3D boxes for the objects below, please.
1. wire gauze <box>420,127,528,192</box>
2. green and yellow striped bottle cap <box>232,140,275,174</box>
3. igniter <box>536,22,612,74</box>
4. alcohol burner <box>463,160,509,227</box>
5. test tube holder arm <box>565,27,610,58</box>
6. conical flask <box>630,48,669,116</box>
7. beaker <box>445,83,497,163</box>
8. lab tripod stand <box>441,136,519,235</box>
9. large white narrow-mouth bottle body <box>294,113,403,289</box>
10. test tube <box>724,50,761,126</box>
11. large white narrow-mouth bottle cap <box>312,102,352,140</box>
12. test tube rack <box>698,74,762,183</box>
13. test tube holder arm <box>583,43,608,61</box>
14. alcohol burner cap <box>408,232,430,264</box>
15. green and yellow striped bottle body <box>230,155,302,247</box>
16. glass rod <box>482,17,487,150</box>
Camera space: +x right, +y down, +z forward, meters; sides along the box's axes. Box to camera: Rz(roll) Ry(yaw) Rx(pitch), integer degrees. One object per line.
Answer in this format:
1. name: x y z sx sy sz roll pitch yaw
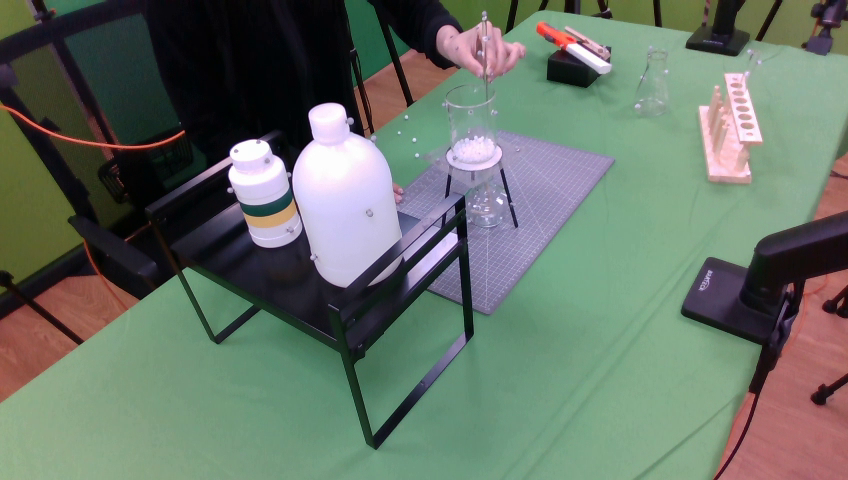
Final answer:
1. wire gauze: 0.076 -0.131 0.927 0.122 0.011 0.124 -34 49 -25
2. green and yellow striped bottle cap: -0.192 -0.094 0.680 0.045 0.020 0.045 -5 39 5
3. igniter: 0.330 -0.438 1.366 0.057 0.025 0.274 -11 41 -19
4. alcohol burner: 0.102 -0.081 0.982 0.078 0.119 0.077 -4 43 4
5. test tube holder arm: 0.369 -0.450 1.373 0.013 0.015 0.177 -39 41 10
6. conical flask: 0.456 -0.317 1.205 0.075 0.122 0.075 -4 41 4
7. beaker: 0.073 -0.175 0.905 0.074 0.101 0.084 3 41 13
8. lab tripod stand: 0.083 -0.086 0.976 0.148 0.132 0.147 -4 42 4
9. large white narrow-mouth bottle body: -0.082 -0.047 0.634 0.102 0.195 0.101 -4 39 3
10. test tube: 0.570 -0.269 1.086 0.017 0.151 0.017 -1 45 1
11. large white narrow-mouth bottle cap: -0.088 -0.114 0.579 0.038 0.024 0.037 -3 39 3
12. test tube rack: 0.547 -0.208 1.095 0.066 0.085 0.242 5 42 15
13. test tube holder arm: 0.379 -0.420 1.341 0.010 0.015 0.087 -39 41 10
14. alcohol burner cap: -0.009 0.010 0.947 0.034 0.048 0.033 -4 41 4
15. green and yellow striped bottle body: -0.188 -0.055 0.714 0.063 0.120 0.063 -4 41 4
16. glass rod: 0.086 -0.216 0.858 0.008 0.200 0.008 -3 39 3
